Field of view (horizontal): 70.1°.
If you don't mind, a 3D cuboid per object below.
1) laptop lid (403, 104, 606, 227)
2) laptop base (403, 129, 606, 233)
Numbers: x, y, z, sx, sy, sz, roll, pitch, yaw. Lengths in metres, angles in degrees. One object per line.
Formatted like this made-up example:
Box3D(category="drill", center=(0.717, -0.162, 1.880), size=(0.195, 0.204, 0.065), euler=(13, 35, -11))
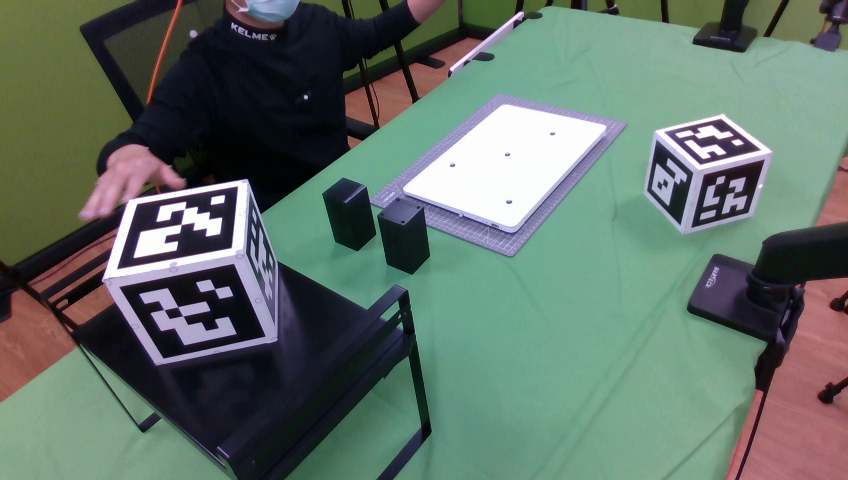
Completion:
Box3D(category="laptop lid", center=(0.153, -0.154, 1.110), size=(0.240, 0.013, 0.358), euler=(22, 48, 33))
Box3D(category="laptop base", center=(0.156, -0.144, 1.116), size=(0.233, 0.023, 0.355), euler=(20, 47, 32))
